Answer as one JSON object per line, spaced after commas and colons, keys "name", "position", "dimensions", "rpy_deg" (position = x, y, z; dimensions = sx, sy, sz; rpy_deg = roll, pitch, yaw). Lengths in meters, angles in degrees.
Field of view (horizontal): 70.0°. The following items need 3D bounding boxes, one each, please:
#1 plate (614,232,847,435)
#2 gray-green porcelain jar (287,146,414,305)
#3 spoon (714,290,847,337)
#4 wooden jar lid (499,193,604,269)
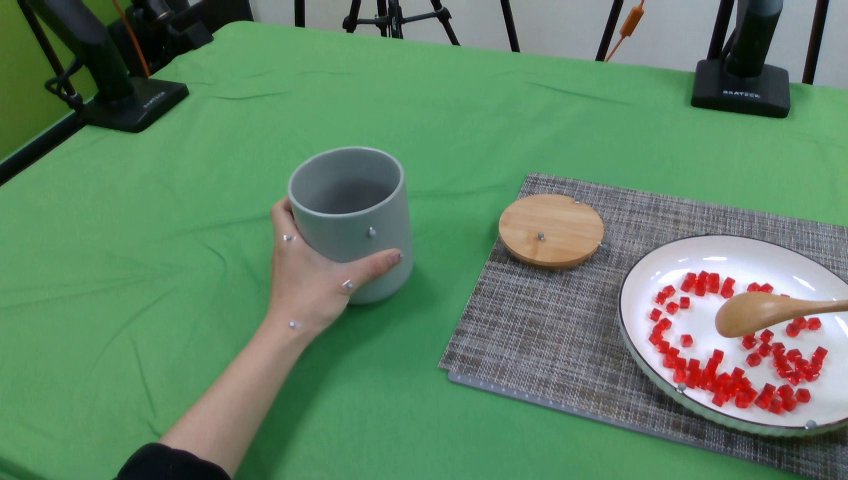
{"name": "plate", "position": [0.268, 0.076, 0.518], "dimensions": [0.207, 0.039, 0.205], "rpy_deg": [-3, 43, 3]}
{"name": "gray-green porcelain jar", "position": [-0.065, -0.009, 0.581], "dimensions": [0.106, 0.128, 0.105], "rpy_deg": [-2, 43, 3]}
{"name": "spoon", "position": [0.302, 0.044, 0.433], "dimensions": [0.193, 0.022, 0.041], "rpy_deg": [-16, 38, 45]}
{"name": "wooden jar lid", "position": [0.132, -0.009, 0.634], "dimensions": [0.108, 0.021, 0.107], "rpy_deg": [-2, 43, 2]}
